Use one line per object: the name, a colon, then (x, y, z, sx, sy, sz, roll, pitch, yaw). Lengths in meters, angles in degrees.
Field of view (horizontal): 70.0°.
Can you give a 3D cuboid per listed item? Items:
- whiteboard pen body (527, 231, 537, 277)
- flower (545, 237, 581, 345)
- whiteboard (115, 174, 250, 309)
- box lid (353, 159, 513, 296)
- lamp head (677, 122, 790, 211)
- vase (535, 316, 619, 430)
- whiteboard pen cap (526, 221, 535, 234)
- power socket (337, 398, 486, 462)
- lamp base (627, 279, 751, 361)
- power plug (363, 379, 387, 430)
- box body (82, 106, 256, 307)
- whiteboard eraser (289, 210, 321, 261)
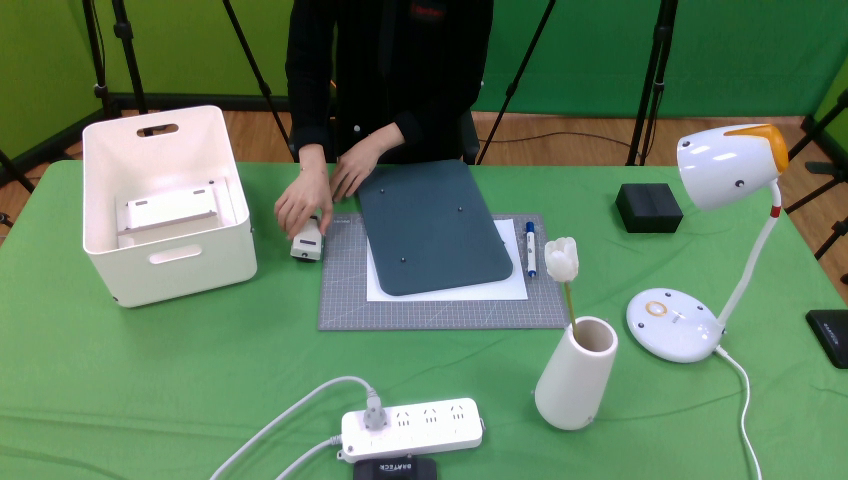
whiteboard pen body: (0.211, 0.018, 1.191, 0.017, 0.017, 0.140, 6, 44, 2)
flower: (0.213, 0.137, 0.846, 0.038, 0.364, 0.044, 21, 55, 40)
whiteboard: (-0.473, -0.055, 1.130, 0.217, 0.144, 0.303, -14, 50, -16)
box lid: (0.008, -0.039, 1.242, 0.264, 0.015, 0.369, -8, 47, -12)
lamp head: (0.423, -0.104, 0.819, 0.122, 0.113, 0.112, -13, 33, 39)
vase: (0.229, 0.200, 0.901, 0.098, 0.201, 0.097, 3, 46, -3)
whiteboard pen cap: (0.216, -0.022, 1.234, 0.018, 0.018, 0.033, 6, 44, 1)
power socket: (-0.018, 0.285, 0.914, 0.227, 0.033, 0.071, -4, 46, -8)
lamp base: (0.460, 0.100, 1.027, 0.178, 0.181, 0.160, 27, 51, 17)
power plug: (-0.071, 0.252, 0.911, 0.035, 0.053, 0.072, 3, 40, 0)
box body: (-0.471, -0.070, 1.131, 0.254, 0.161, 0.361, -14, 49, -17)
whiteboard eraser: (-0.229, -0.008, 1.173, 0.056, 0.042, 0.112, 7, 44, -14)
